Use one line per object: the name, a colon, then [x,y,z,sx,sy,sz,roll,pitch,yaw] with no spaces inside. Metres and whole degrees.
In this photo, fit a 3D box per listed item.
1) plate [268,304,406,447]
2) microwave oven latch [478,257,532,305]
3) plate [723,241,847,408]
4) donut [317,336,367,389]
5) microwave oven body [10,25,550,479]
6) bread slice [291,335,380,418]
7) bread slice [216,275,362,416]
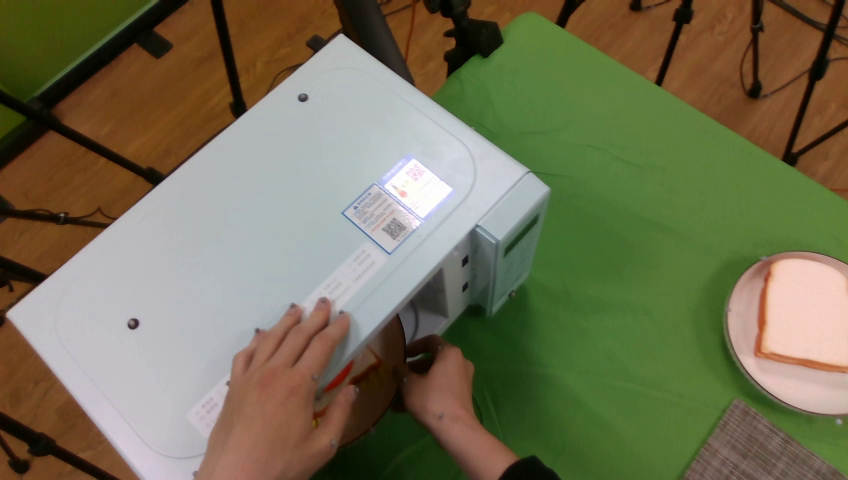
plate: [-0.121,0.126,0.685,0.209,0.038,0.207,-2,67,6]
microwave oven latch: [0.104,0.046,0.774,0.079,0.030,0.030,-43,71,-13]
plate: [0.471,0.103,0.745,0.207,0.039,0.206,-1,67,3]
donut: [-0.110,0.114,0.660,0.099,0.048,0.098,6,61,-9]
microwave oven body: [-0.132,0.041,0.686,0.324,0.262,0.441,39,75,18]
bread slice: [-0.118,0.136,0.686,0.131,0.019,0.104,-32,70,-19]
bread slice: [-0.134,0.100,0.635,0.134,0.018,0.106,-40,74,-19]
